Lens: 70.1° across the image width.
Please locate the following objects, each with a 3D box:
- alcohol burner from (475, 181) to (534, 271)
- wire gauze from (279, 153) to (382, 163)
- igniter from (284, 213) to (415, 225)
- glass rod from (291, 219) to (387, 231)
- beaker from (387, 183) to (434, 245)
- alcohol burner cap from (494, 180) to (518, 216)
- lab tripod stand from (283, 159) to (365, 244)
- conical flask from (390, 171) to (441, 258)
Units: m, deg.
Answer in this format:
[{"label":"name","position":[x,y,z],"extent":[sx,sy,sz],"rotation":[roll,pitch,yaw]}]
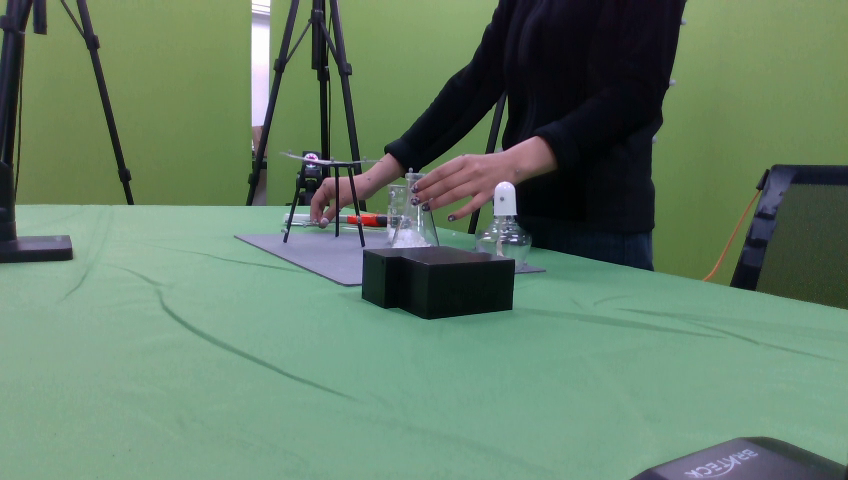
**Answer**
[{"label":"alcohol burner","position":[0.108,-0.020,0.803],"extent":[0.078,0.119,0.078],"rotation":[3,5,0]},{"label":"wire gauze","position":[-0.149,-0.129,0.974],"extent":[0.124,0.011,0.122],"rotation":[10,9,41]},{"label":"igniter","position":[-0.154,-0.045,1.282],"extent":[0.278,0.025,0.057],"rotation":[0,-3,-20]},{"label":"glass rod","position":[-0.162,-0.028,1.162],"extent":[0.201,0.008,0.008],"rotation":[4,5,-27]},{"label":"beaker","position":[-0.027,-0.044,1.012],"extent":[0.074,0.100,0.083],"rotation":[-2,8,-34]},{"label":"alcohol burner cap","position":[0.108,-0.055,0.800],"extent":[0.034,0.048,0.034],"rotation":[-2,4,0]},{"label":"lab tripod stand","position":[-0.151,-0.063,0.983],"extent":[0.148,0.131,0.148],"rotation":[4,7,0]},{"label":"conical flask","position":[-0.010,-0.037,0.872],"extent":[0.075,0.122,0.075],"rotation":[2,7,0]}]
